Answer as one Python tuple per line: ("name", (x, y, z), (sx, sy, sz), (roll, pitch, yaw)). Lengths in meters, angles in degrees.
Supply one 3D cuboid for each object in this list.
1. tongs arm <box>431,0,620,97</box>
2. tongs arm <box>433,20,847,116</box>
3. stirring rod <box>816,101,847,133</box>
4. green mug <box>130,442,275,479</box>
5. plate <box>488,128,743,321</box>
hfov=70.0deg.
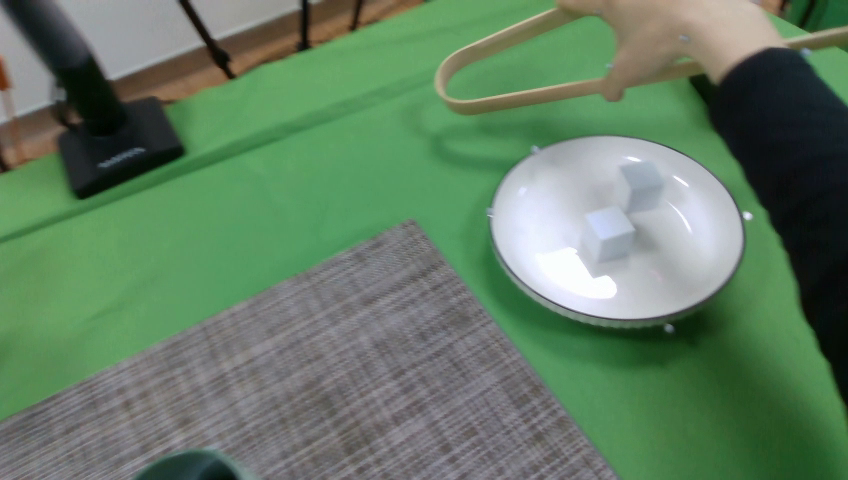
("tongs arm", (0.186, -0.221, 0.572), (0.384, 0.027, 0.050), (-17, 68, 15))
("tongs arm", (0.194, -0.157, 0.546), (0.386, 0.028, 0.028), (-7, 73, 19))
("stirring rod", (0.392, -0.063, 0.486), (0.006, 0.014, 0.174), (-19, 50, -21))
("green mug", (-0.105, 0.173, 0.357), (0.125, 0.106, 0.091), (-9, 51, -2))
("plate", (0.159, -0.015, 0.525), (0.207, 0.039, 0.205), (-3, 52, 4))
